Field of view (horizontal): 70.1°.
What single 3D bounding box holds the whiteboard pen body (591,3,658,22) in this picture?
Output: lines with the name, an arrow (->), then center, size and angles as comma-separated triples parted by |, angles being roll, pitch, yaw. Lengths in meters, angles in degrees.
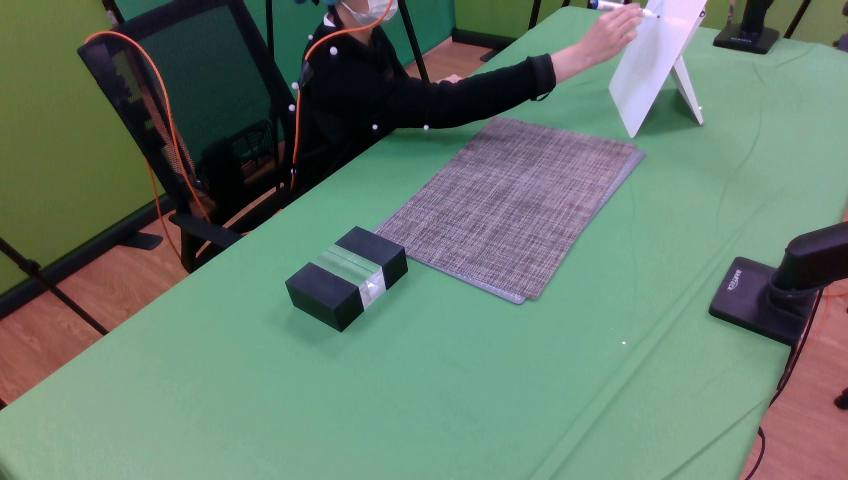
whiteboard pen body -> 0.372, -0.417, 1.112 | 0.141, 0.017, 0.017 | 4, 38, -16

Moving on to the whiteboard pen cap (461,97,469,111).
whiteboard pen cap -> 0.087, -0.289, 1.286 | 0.018, 0.018, 0.033 | -4, 46, 3

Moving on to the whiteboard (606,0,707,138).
whiteboard -> 0.496, -0.358, 1.147 | 0.144, 0.305, 0.216 | 12, 40, -7
